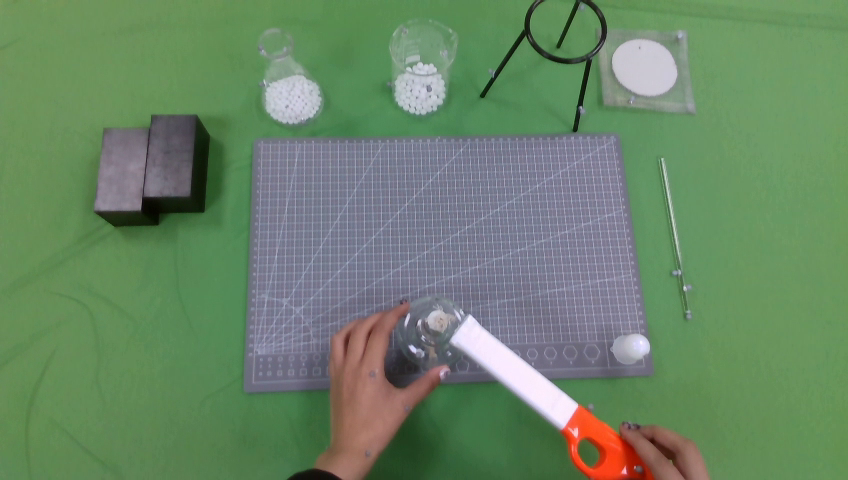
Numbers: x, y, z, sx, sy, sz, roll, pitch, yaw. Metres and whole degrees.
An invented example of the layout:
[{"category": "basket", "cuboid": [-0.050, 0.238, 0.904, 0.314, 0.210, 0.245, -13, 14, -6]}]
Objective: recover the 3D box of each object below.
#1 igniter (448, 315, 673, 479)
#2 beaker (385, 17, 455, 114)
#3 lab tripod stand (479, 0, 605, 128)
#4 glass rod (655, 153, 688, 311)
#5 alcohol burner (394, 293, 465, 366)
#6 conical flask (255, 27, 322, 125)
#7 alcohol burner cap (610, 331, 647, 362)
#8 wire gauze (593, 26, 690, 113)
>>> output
[{"category": "igniter", "cuboid": [0.136, 0.167, 0.551, 0.276, 0.025, 0.057, 39, 72, 2]}, {"category": "beaker", "cuboid": [-0.005, -0.203, 0.718, 0.084, 0.100, 0.073, -28, 77, -11]}, {"category": "lab tripod stand", "cuboid": [0.144, -0.213, 0.711, 0.148, 0.132, 0.147, 1, 75, -2]}, {"category": "glass rod", "cuboid": [0.297, -0.013, 0.728, 0.008, 0.008, 0.198, -2, 74, -4]}, {"category": "alcohol burner", "cuboid": [0.008, 0.089, 0.623, 0.078, 0.119, 0.077, 1, 71, -4]}, {"category": "conical flask", "cuboid": [-0.161, -0.191, 0.692, 0.075, 0.122, 0.075, 1, 73, -3]}, {"category": "alcohol burner cap", "cuboid": [0.227, 0.115, 0.665, 0.034, 0.048, 0.033, 1, 73, -3]}, {"category": "wire gauze", "cuboid": [0.284, -0.226, 0.789, 0.125, 0.011, 0.121, 3, 74, -4]}]
